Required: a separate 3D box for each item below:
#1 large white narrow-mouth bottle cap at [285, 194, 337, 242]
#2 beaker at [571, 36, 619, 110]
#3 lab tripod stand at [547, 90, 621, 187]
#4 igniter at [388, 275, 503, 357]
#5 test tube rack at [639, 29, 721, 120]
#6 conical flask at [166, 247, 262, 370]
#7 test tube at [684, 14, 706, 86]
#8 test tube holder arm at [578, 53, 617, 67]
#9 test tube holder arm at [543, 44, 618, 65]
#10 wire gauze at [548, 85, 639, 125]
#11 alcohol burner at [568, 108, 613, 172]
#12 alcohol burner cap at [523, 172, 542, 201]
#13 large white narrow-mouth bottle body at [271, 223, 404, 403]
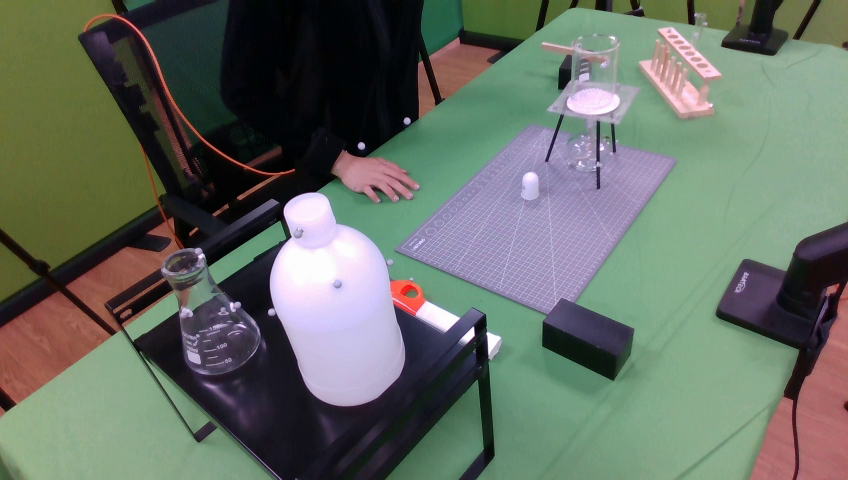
[{"bbox_3d":[-0.087,-0.018,0.467,0.038,0.024,0.037,-4,40,4],"label":"large white narrow-mouth bottle cap"},{"bbox_3d":[0.281,-0.273,0.992,0.084,0.101,0.073,-24,42,-16],"label":"beaker"},{"bbox_3d":[0.289,-0.184,1.062,0.148,0.132,0.147,-6,41,6],"label":"lab tripod stand"},{"bbox_3d":[-0.008,0.093,0.870,0.274,0.025,0.057,24,60,33],"label":"igniter"},{"bbox_3d":[0.527,-0.351,1.262,0.067,0.085,0.241,-8,40,1],"label":"test tube rack"},{"bbox_3d":[-0.208,0.064,0.584,0.075,0.122,0.075,-5,41,4],"label":"conical flask"},{"bbox_3d":[0.540,-0.378,1.215,0.017,0.151,0.017,-2,44,3],"label":"test tube"},{"bbox_3d":[0.376,-0.393,1.314,0.087,0.015,0.010,25,51,32],"label":"test tube holder arm"},{"bbox_3d":[0.344,-0.412,1.340,0.177,0.015,0.013,24,50,31],"label":"test tube holder arm"},{"bbox_3d":[0.286,-0.233,1.020,0.124,0.011,0.122,15,43,30],"label":"wire gauze"},{"bbox_3d":[0.296,-0.182,1.074,0.078,0.119,0.077,-5,43,5],"label":"alcohol burner"},{"bbox_3d":[0.186,-0.096,1.047,0.034,0.048,0.033,-6,37,5],"label":"alcohol burner cap"},{"bbox_3d":[-0.077,0.048,0.525,0.102,0.195,0.101,-5,40,4],"label":"large white narrow-mouth bottle body"}]
